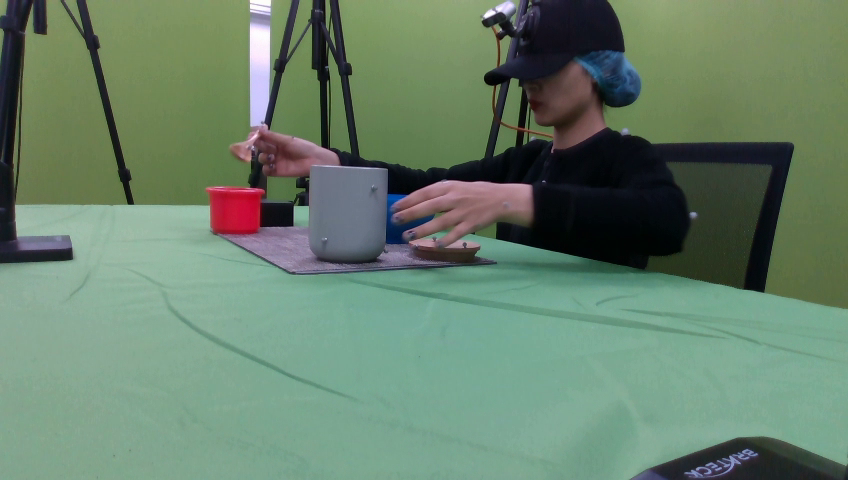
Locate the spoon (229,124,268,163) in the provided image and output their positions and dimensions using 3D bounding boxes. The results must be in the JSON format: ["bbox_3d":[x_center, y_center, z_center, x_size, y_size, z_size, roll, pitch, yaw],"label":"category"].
[{"bbox_3d":[-0.312,-0.181,1.103,0.042,0.021,0.193,36,26,-14],"label":"spoon"}]

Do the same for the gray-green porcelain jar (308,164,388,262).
[{"bbox_3d":[-0.103,-0.038,0.818,0.106,0.126,0.106,2,7,0],"label":"gray-green porcelain jar"}]

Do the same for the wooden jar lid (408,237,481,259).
[{"bbox_3d":[0.031,0.012,0.896,0.108,0.020,0.108,2,8,0],"label":"wooden jar lid"}]

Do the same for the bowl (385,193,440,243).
[{"bbox_3d":[-0.050,-0.038,1.033,0.151,0.077,0.151,3,7,0],"label":"bowl"}]
